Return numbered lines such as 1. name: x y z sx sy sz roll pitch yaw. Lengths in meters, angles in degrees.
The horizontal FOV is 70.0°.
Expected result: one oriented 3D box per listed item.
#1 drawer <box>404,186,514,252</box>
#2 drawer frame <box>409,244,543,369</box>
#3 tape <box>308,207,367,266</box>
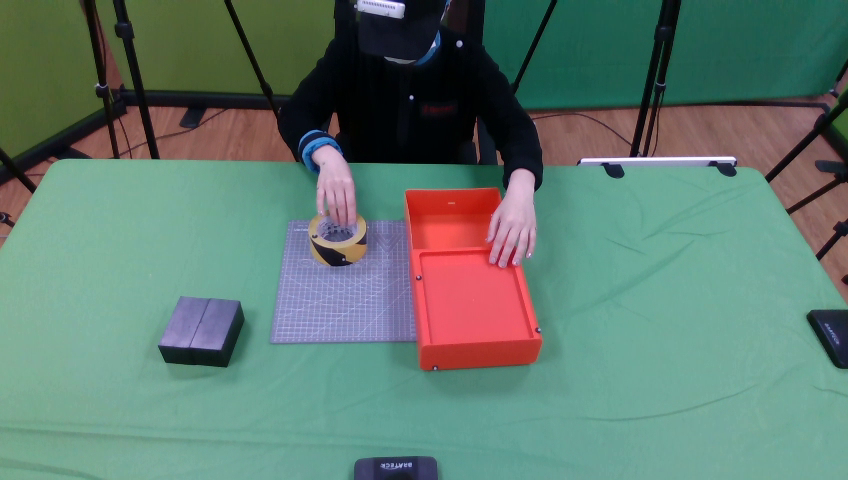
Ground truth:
1. drawer: 0.066 -0.010 1.171 0.195 0.073 0.210 -1 45 -6
2. drawer frame: 0.082 0.110 1.051 0.202 0.083 0.212 -2 47 -7
3. tape: -0.167 -0.008 1.167 0.117 0.053 0.116 3 46 -3
